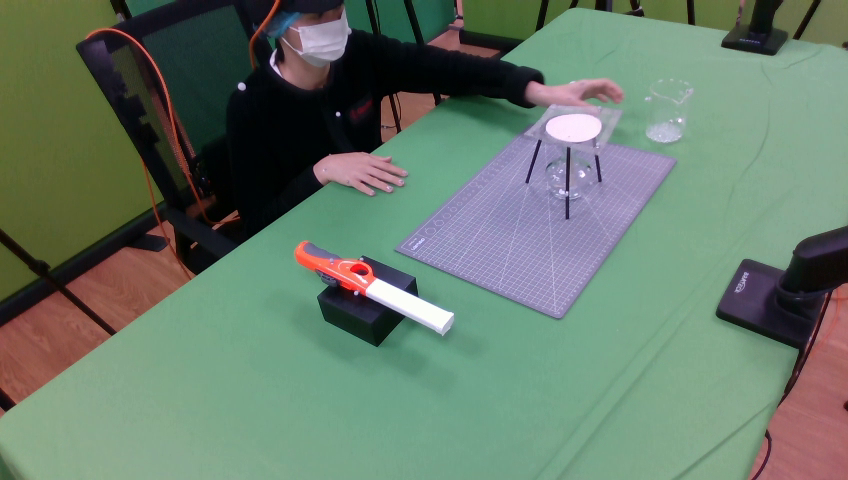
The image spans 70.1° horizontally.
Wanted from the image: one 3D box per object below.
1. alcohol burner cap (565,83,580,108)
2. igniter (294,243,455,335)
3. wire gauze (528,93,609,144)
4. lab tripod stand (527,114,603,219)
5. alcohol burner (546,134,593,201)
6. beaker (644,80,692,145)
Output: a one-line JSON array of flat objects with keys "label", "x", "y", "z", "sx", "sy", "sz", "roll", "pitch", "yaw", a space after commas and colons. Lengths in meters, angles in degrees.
[{"label": "alcohol burner cap", "x": 0.315, "y": -0.308, "z": 1.278, "sx": 0.034, "sy": 0.048, "sz": 0.033, "roll": -4, "pitch": 42, "yaw": 4}, {"label": "igniter", "x": -0.079, "y": 0.062, "z": 0.837, "sx": 0.274, "sy": 0.025, "sz": 0.057, "roll": 23, "pitch": 49, "yaw": 27}, {"label": "wire gauze", "x": 0.225, "y": -0.188, "z": 0.943, "sx": 0.121, "sy": 0.011, "sz": 0.124, "roll": 6, "pitch": 48, "yaw": 9}, {"label": "lab tripod stand", "x": 0.234, "y": -0.129, "z": 1.002, "sx": 0.148, "sy": 0.132, "sz": 0.147, "roll": -6, "pitch": 40, "yaw": 6}, {"label": "alcohol burner", "x": 0.243, "y": -0.126, "z": 1.012, "sx": 0.078, "sy": 0.119, "sz": 0.077, "roll": -5, "pitch": 42, "yaw": 5}, {"label": "beaker", "x": 0.451, "y": -0.233, "z": 1.122, "sx": 0.074, "sy": 0.101, "sz": 0.083, "roll": -8, "pitch": 40, "yaw": 1}]
